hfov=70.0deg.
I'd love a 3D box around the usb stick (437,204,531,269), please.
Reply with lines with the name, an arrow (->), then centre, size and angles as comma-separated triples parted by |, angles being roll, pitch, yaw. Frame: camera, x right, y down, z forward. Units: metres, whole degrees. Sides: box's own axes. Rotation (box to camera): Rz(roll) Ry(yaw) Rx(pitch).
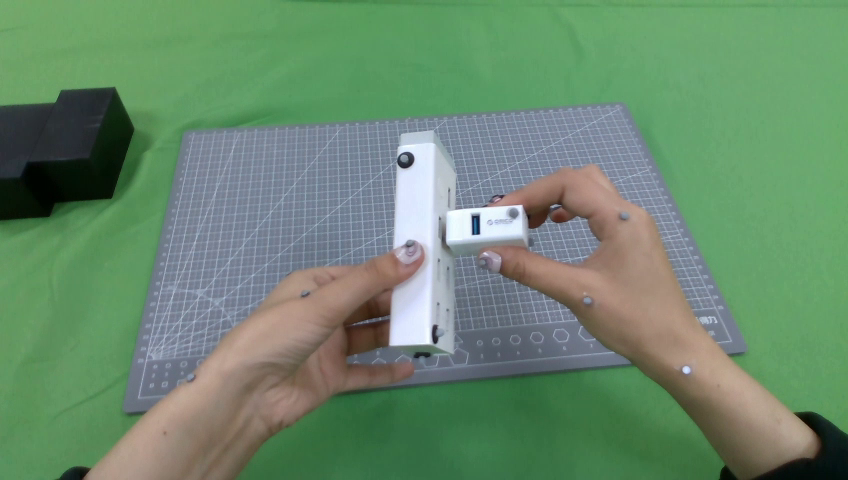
usb stick -> 0.030, 0.001, 0.346 | 0.059, 0.027, 0.021 | -18, 65, 11

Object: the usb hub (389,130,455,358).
usb hub -> 0.000, 0.003, 0.353 | 0.025, 0.050, 0.124 | -4, 72, 18
